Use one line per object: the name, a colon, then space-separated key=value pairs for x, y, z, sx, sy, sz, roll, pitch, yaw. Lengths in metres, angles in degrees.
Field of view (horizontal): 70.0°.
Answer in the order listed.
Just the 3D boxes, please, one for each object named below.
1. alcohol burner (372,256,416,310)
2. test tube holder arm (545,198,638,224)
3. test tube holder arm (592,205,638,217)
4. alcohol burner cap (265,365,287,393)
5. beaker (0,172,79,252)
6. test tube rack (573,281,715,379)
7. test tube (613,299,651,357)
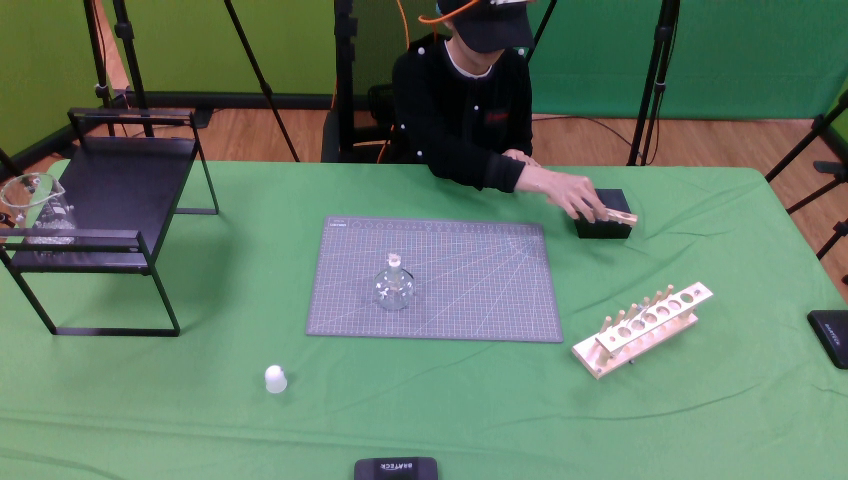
alcohol burner: x=-0.052 y=0.068 z=1.057 sx=0.078 sy=0.120 sz=0.077 roll=1 pitch=48 yaw=-1
test tube holder arm: x=0.326 y=-0.058 z=1.188 sx=0.178 sy=0.015 sz=0.013 roll=13 pitch=39 yaw=15
test tube holder arm: x=0.370 y=-0.051 z=1.180 sx=0.087 sy=0.015 sz=0.010 roll=14 pitch=39 yaw=17
alcohol burner cap: x=-0.236 y=0.216 z=0.956 sx=0.034 sy=0.048 sz=0.033 roll=3 pitch=45 yaw=-3
beaker: x=-0.557 y=-0.038 z=0.889 sx=0.084 sy=0.101 sz=0.073 roll=-3 pitch=47 yaw=-8
test tube rack: x=0.378 y=0.140 z=1.038 sx=0.242 sy=0.085 sz=0.066 roll=-22 pitch=51 yaw=-23
test tube: x=0.328 y=0.143 z=0.962 sx=0.017 sy=0.151 sz=0.017 roll=3 pitch=48 yaw=-3
